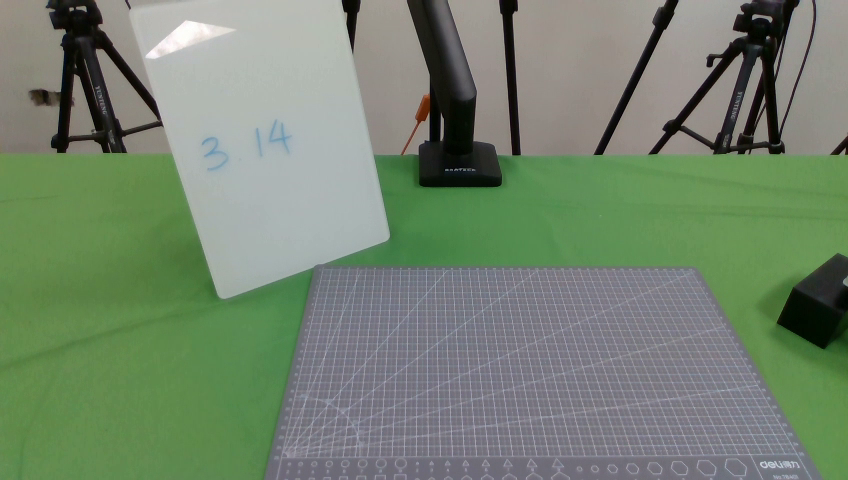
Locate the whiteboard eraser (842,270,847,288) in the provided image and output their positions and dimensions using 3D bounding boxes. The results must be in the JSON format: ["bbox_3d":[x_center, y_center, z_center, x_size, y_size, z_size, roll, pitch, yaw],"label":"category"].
[{"bbox_3d":[0.467,0.051,0.575,0.056,0.042,0.111,-25,43,-32],"label":"whiteboard eraser"}]

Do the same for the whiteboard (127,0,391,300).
[{"bbox_3d":[-0.192,-0.123,0.711,0.218,0.307,0.142,-21,22,-26],"label":"whiteboard"}]
